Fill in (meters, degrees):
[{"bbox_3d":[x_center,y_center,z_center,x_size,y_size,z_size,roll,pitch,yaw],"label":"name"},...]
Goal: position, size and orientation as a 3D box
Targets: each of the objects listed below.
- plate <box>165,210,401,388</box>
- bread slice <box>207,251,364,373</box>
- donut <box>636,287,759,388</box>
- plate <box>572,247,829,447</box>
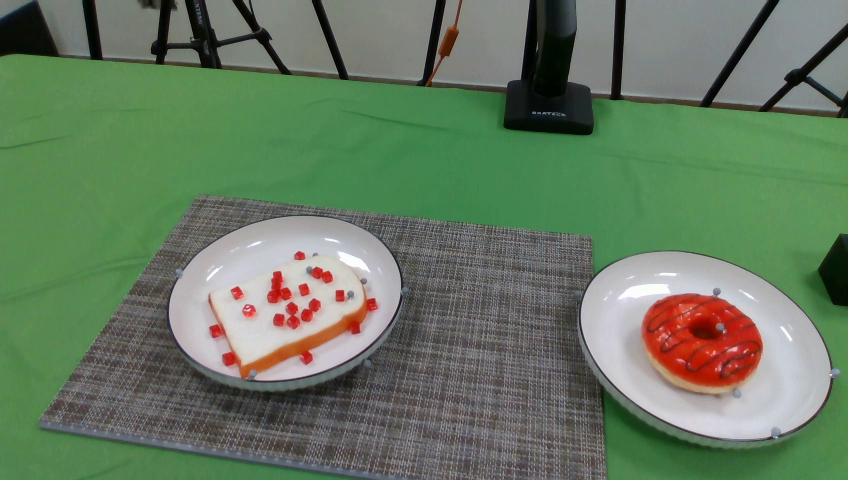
[{"bbox_3d":[-0.126,0.051,0.559,0.209,0.038,0.207,1,43,0],"label":"plate"},{"bbox_3d":[-0.124,0.055,0.558,0.132,0.019,0.103,-23,49,-23],"label":"bread slice"},{"bbox_3d":[0.234,0.082,0.522,0.099,0.049,0.098,-1,44,1],"label":"donut"},{"bbox_3d":[0.233,0.090,0.531,0.208,0.039,0.205,1,43,0],"label":"plate"}]
